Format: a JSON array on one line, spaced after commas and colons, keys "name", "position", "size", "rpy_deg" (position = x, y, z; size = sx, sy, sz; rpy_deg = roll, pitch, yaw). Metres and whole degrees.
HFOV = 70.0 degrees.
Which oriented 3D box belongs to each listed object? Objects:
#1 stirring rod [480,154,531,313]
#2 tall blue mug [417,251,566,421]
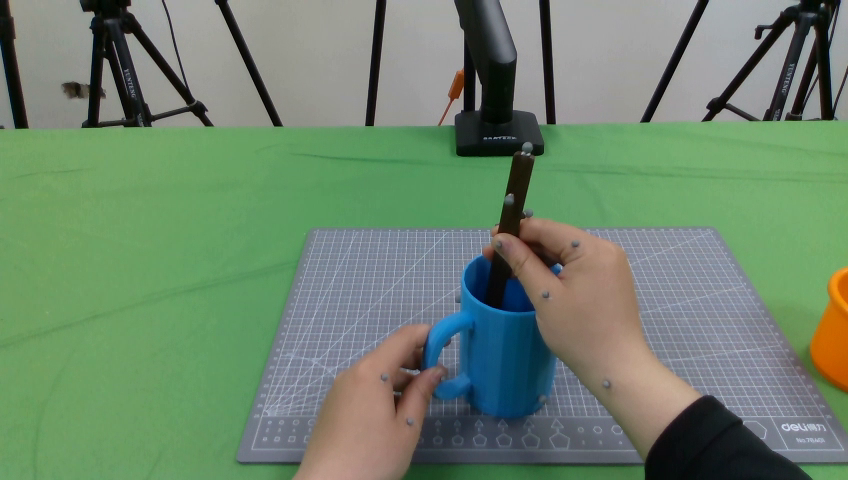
[{"name": "stirring rod", "position": [0.052, 0.015, 0.422], "size": [0.014, 0.177, 0.006], "rpy_deg": [14, 43, 10]}, {"name": "tall blue mug", "position": [0.054, 0.081, 0.452], "size": [0.077, 0.109, 0.107], "rpy_deg": [21, 41, 26]}]
